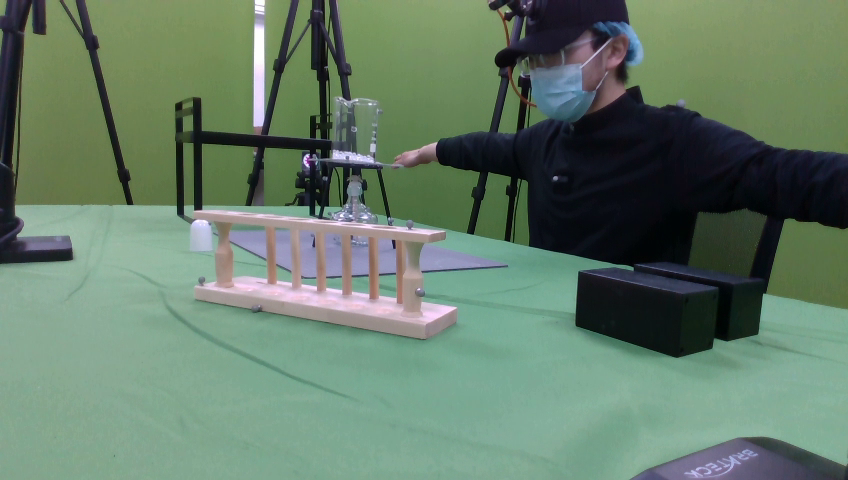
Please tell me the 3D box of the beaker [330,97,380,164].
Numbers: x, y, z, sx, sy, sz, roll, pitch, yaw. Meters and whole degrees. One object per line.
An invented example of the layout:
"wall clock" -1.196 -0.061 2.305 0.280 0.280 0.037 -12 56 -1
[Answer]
"beaker" -0.111 -0.171 0.953 0.074 0.100 0.084 5 8 7

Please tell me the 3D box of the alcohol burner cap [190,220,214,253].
"alcohol burner cap" -0.321 -0.006 0.875 0.034 0.048 0.034 4 8 0

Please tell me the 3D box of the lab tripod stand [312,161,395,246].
"lab tripod stand" -0.110 -0.058 0.970 0.148 0.131 0.148 4 6 0

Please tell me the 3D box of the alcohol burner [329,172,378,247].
"alcohol burner" -0.113 -0.049 0.972 0.078 0.119 0.078 1 9 0

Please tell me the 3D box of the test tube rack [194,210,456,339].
"test tube rack" -0.093 0.023 0.545 0.241 0.085 0.067 6 8 25

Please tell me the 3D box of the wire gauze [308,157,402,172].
"wire gauze" -0.111 -0.122 0.956 0.125 0.011 0.121 4 8 -22
